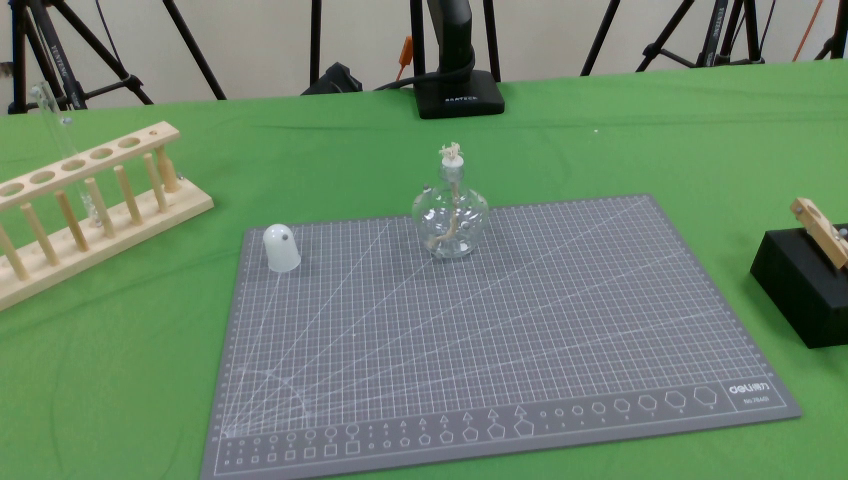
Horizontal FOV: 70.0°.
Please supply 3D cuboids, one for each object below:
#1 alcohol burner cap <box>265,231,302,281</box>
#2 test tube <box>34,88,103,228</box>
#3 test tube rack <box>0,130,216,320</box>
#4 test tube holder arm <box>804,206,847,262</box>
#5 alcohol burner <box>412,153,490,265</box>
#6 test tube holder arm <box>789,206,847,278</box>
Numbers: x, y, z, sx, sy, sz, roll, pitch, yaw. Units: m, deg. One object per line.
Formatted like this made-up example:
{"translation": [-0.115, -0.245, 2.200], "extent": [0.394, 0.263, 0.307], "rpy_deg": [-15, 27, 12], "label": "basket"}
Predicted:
{"translation": [-0.139, 0.012, 0.593], "extent": [0.034, 0.048, 0.033], "rpy_deg": [0, 40, 1], "label": "alcohol burner cap"}
{"translation": [-0.346, -0.076, 0.598], "extent": [0.017, 0.151, 0.017], "rpy_deg": [-2, 35, 2], "label": "test tube"}
{"translation": [-0.343, -0.021, 0.610], "extent": [0.066, 0.086, 0.242], "rpy_deg": [31, 49, 34], "label": "test tube rack"}
{"translation": [0.363, 0.028, 0.506], "extent": [0.013, 0.015, 0.176], "rpy_deg": [-4, 40, -4], "label": "test tube holder arm"}
{"translation": [0.027, -0.034, 0.589], "extent": [0.078, 0.120, 0.077], "rpy_deg": [0, 41, 0], "label": "alcohol burner"}
{"translation": [0.354, 0.000, 0.540], "extent": [0.010, 0.015, 0.087], "rpy_deg": [-3, 40, -2], "label": "test tube holder arm"}
